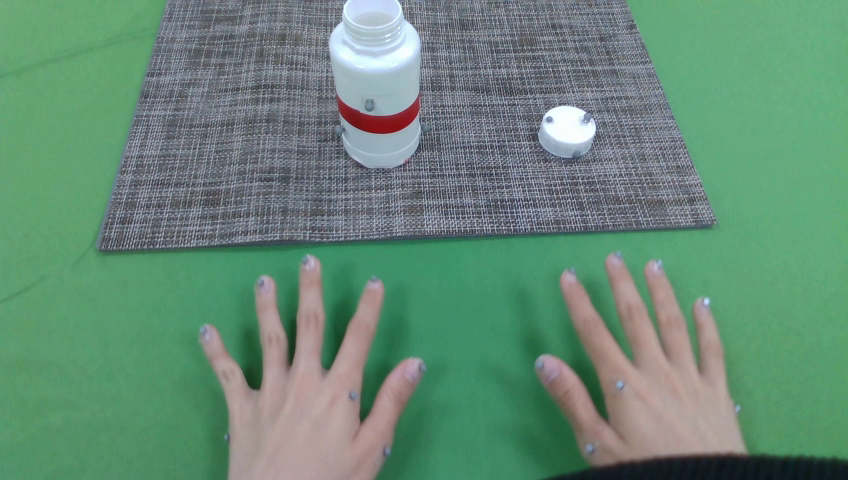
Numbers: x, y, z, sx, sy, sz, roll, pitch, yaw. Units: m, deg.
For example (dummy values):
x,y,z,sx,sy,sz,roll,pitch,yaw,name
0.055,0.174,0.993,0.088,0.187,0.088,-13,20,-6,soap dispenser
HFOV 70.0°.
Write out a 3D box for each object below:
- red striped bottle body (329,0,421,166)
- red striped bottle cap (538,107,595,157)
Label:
x,y,z,sx,sy,sz,roll,pitch,yaw,name
-0.034,-0.115,0.441,0.063,0.120,0.062,0,56,0,red striped bottle body
0.116,-0.088,0.492,0.044,0.018,0.044,1,52,0,red striped bottle cap
